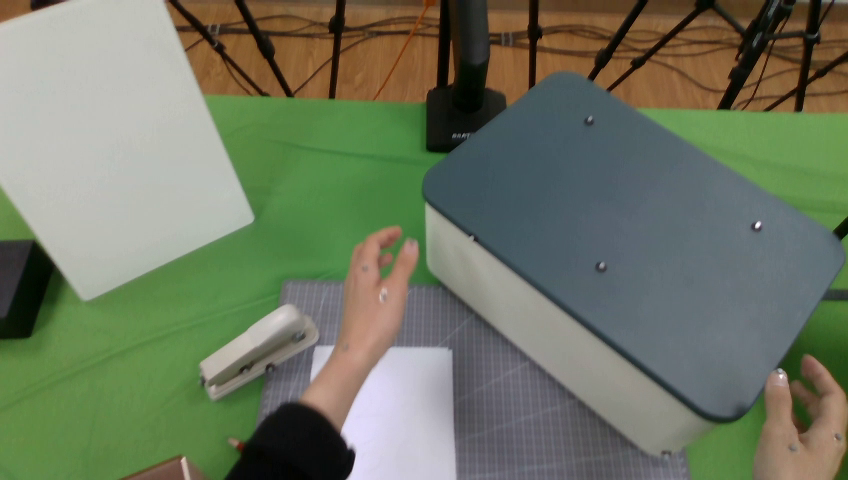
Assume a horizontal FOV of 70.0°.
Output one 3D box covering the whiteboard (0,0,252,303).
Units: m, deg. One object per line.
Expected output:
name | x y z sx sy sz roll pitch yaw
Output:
whiteboard | -0.368 -0.123 0.691 0.217 0.308 0.142 -28 42 -19

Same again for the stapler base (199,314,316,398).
stapler base | -0.184 0.121 0.667 0.130 0.024 0.041 -30 57 -17

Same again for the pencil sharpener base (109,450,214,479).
pencil sharpener base | -0.230 0.241 0.536 0.077 0.108 0.061 -20 59 -15

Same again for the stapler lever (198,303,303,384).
stapler lever | -0.185 0.108 0.646 0.118 0.040 0.026 -29 57 -17

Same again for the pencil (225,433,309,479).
pencil | -0.121 0.238 0.600 0.193 0.012 0.012 24 58 15

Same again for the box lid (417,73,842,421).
box lid | 0.201 -0.025 0.612 0.369 0.015 0.263 39 62 20

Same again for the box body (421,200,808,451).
box body | 0.200 0.018 0.672 0.361 0.161 0.254 38 62 21
